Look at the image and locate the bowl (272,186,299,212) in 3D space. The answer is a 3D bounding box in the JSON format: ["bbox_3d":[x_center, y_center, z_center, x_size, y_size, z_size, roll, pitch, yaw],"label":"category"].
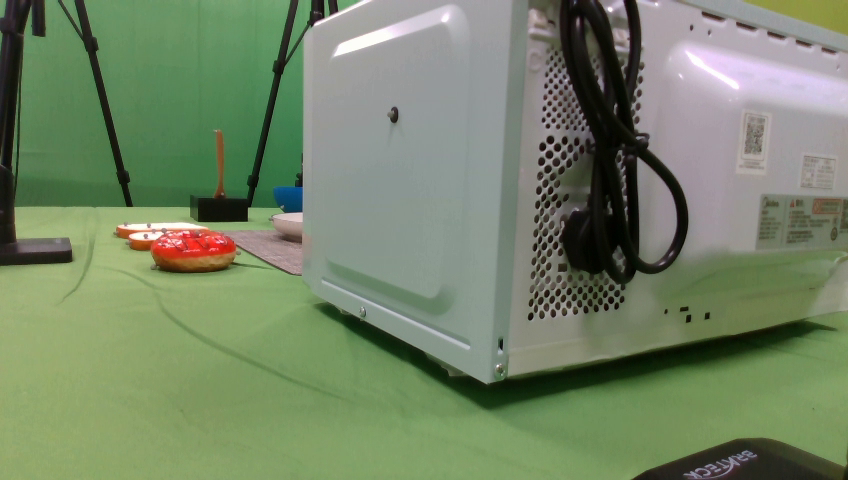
[{"bbox_3d":[-0.254,-0.075,1.318,0.151,0.077,0.151,2,7,0],"label":"bowl"}]

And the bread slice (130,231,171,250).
[{"bbox_3d":[-0.370,0.001,0.916,0.135,0.018,0.106,-1,7,-32],"label":"bread slice"}]

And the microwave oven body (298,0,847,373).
[{"bbox_3d":[0.151,-0.055,0.543,0.444,0.260,0.324,-1,8,-33],"label":"microwave oven body"}]

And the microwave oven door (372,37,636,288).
[{"bbox_3d":[0.110,-0.080,0.686,0.358,0.243,0.039,-2,9,-33],"label":"microwave oven door"}]

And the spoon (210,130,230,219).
[{"bbox_3d":[-0.436,-0.138,1.296,0.042,0.193,0.021,-3,23,-27],"label":"spoon"}]

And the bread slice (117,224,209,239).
[{"bbox_3d":[-0.443,-0.015,1.023,0.132,0.019,0.104,-3,8,-45],"label":"bread slice"}]

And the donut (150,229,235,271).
[{"bbox_3d":[-0.285,0.013,0.747,0.099,0.048,0.099,3,10,0],"label":"donut"}]

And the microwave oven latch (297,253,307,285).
[{"bbox_3d":[-0.082,0.027,0.582,0.079,0.029,0.030,-1,8,-32],"label":"microwave oven latch"}]

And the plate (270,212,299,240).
[{"bbox_3d":[-0.162,-0.022,1.058,0.208,0.039,0.207,2,7,0],"label":"plate"}]
